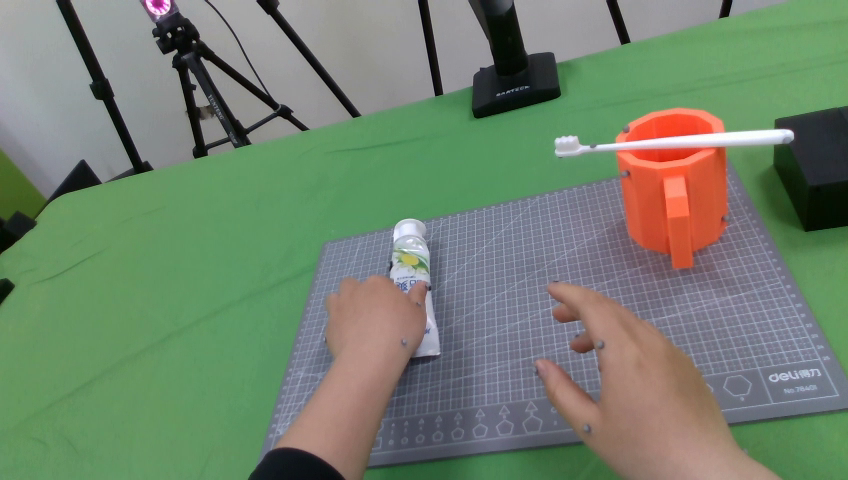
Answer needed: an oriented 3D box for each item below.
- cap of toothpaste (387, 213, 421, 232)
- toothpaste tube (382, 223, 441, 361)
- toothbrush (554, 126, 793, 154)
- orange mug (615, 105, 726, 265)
[{"bbox_3d":[-0.021,-0.014,0.646,0.037,0.038,0.011,-14,48,12],"label":"cap of toothpaste"},{"bbox_3d":[-0.018,0.043,0.594,0.055,0.035,0.163,-15,46,9],"label":"toothpaste tube"},{"bbox_3d":[0.193,-0.083,0.490,0.181,0.017,0.014,1,37,29],"label":"toothbrush"},{"bbox_3d":[0.213,-0.043,0.519,0.083,0.102,0.125,-6,37,21],"label":"orange mug"}]
